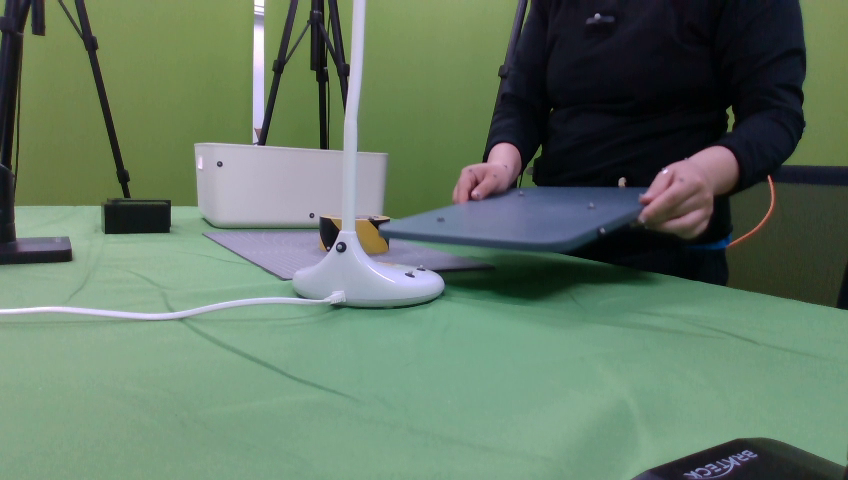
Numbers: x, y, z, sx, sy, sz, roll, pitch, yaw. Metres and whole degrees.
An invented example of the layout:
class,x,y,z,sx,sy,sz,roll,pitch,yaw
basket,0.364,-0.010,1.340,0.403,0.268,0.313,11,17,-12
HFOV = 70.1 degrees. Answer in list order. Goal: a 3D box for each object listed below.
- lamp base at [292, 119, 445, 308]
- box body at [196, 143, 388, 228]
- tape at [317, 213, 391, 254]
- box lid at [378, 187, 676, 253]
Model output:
class,x,y,z,sx,sy,sz,roll,pitch,yaw
lamp base,-0.056,-0.030,0.616,0.160,0.180,0.179,4,10,8
box body,-0.286,-0.117,1.291,0.366,0.160,0.253,-1,8,-27
tape,-0.109,-0.012,0.938,0.117,0.052,0.117,2,7,0
box lid,0.145,-0.036,0.791,0.262,0.015,0.373,5,15,39
